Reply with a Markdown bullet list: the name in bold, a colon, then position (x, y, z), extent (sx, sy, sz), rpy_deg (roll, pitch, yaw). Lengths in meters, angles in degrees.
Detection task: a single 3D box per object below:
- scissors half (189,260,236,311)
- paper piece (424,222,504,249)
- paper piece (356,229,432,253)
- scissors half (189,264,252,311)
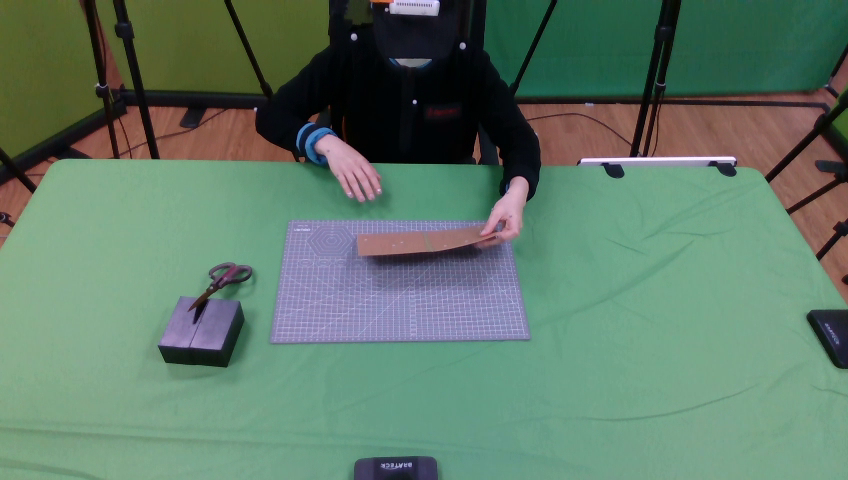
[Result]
- **scissors half**: position (-0.372, 0.077, 1.056), extent (0.040, 0.013, 0.174), rpy_deg (13, 25, -4)
- **paper piece**: position (0.072, -0.011, 1.167), extent (0.138, 0.009, 0.135), rpy_deg (-10, 17, -4)
- **paper piece**: position (-0.060, 0.001, 1.153), extent (0.136, 0.004, 0.135), rpy_deg (-3, 17, -6)
- **scissors half**: position (-0.352, 0.082, 1.055), extent (0.040, 0.013, 0.175), rpy_deg (15, 26, 14)
